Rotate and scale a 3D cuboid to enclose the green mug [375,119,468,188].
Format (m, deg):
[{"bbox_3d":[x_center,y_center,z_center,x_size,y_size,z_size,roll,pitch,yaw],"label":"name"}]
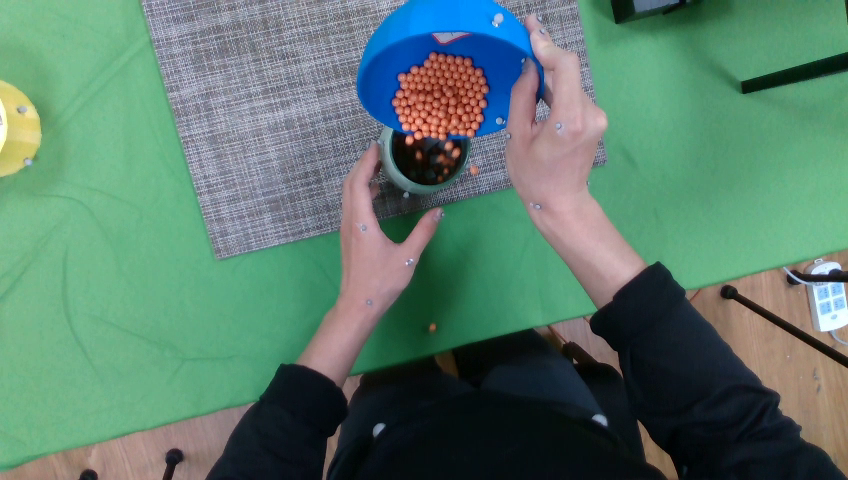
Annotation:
[{"bbox_3d":[-0.002,-0.116,0.615,0.093,0.104,0.125,2,96,-7],"label":"green mug"}]

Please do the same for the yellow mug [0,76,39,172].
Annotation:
[{"bbox_3d":[-0.445,-0.100,0.584,0.100,0.064,0.131,18,95,-9],"label":"yellow mug"}]

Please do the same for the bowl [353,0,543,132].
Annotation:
[{"bbox_3d":[0.019,-0.159,0.493,0.152,0.152,0.076,2,71,-7],"label":"bowl"}]
